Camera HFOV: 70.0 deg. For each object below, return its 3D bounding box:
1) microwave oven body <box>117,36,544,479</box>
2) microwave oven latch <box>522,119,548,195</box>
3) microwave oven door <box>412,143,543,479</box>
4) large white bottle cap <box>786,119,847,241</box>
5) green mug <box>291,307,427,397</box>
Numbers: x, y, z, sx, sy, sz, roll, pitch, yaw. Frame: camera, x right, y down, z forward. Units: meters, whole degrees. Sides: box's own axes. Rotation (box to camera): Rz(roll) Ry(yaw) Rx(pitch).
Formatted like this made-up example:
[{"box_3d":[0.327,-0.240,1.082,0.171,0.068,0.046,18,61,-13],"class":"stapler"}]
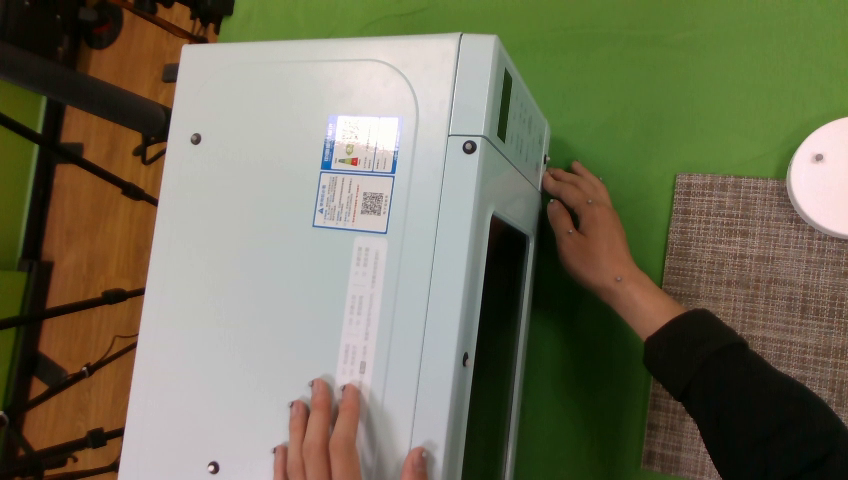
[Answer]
[{"box_3d":[-0.078,0.063,0.603,0.324,0.262,0.441,5,86,21],"class":"microwave oven body"},{"box_3d":[0.116,-0.089,0.649,0.030,0.030,0.079,6,87,21],"class":"microwave oven latch"},{"box_3d":[0.051,0.115,0.542,0.039,0.245,0.355,5,86,22],"class":"microwave oven door"},{"box_3d":[0.401,-0.056,0.560,0.114,0.018,0.114,-3,82,21],"class":"large white bottle cap"},{"box_3d":[-0.059,0.112,0.614,0.125,0.105,0.092,-8,81,16],"class":"green mug"}]
